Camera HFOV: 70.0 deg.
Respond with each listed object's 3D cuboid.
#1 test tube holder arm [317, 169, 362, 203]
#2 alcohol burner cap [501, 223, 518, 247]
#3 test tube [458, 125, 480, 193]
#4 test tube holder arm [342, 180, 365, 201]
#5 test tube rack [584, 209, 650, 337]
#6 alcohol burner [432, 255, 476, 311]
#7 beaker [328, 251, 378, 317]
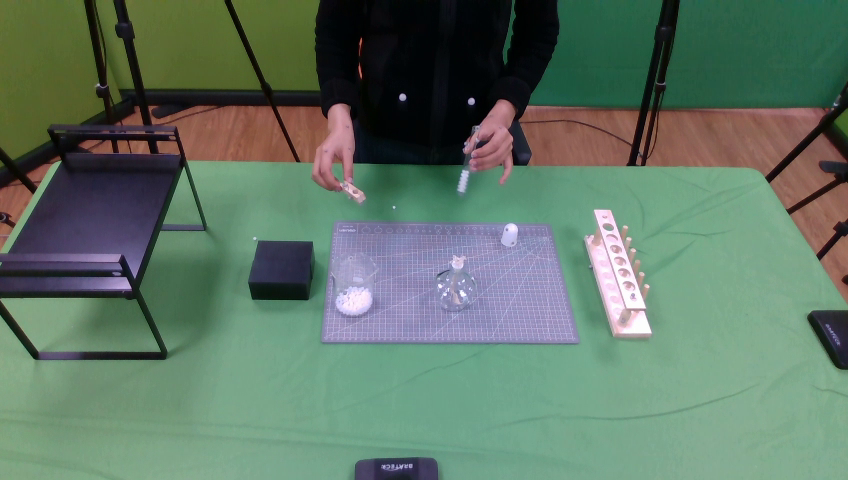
[{"bbox_3d":[-0.161,-0.104,1.137,0.013,0.015,0.177,-29,34,-23],"label":"test tube holder arm"},{"bbox_3d":[0.172,-0.013,1.206,0.034,0.048,0.033,1,45,-1],"label":"alcohol burner cap"},{"bbox_3d":[0.083,-0.149,1.143,0.017,0.151,0.017,6,42,-5],"label":"test tube"},{"bbox_3d":[-0.132,-0.091,1.105,0.010,0.015,0.087,-28,34,-22],"label":"test tube holder arm"},{"bbox_3d":[0.365,0.056,1.129,0.067,0.085,0.240,1,46,-3],"label":"test tube rack"},{"bbox_3d":[0.055,0.070,1.068,0.078,0.119,0.077,3,45,-3],"label":"alcohol burner"},{"bbox_3d":[-0.123,0.079,1.055,0.084,0.101,0.073,0,47,-5],"label":"beaker"}]
